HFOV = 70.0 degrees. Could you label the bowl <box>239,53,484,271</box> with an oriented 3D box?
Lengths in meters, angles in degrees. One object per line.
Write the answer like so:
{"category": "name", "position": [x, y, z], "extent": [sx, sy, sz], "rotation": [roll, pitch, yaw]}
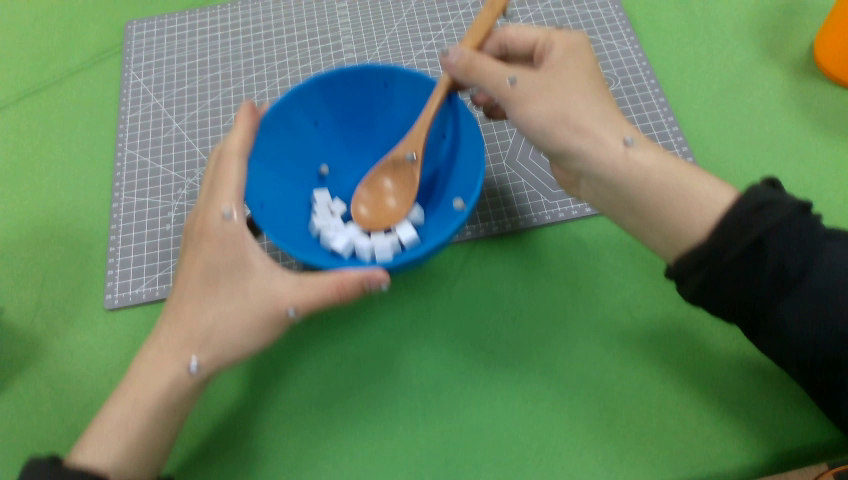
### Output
{"category": "bowl", "position": [-0.036, -0.040, 0.403], "extent": [0.151, 0.077, 0.150], "rotation": [-1, 66, 3]}

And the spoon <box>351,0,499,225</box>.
{"category": "spoon", "position": [0.009, -0.095, 0.387], "extent": [0.041, 0.022, 0.194], "rotation": [35, 103, 23]}
